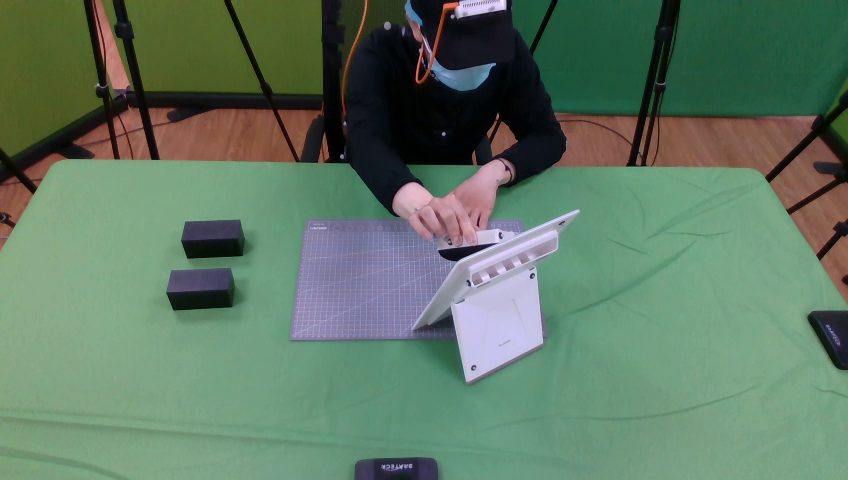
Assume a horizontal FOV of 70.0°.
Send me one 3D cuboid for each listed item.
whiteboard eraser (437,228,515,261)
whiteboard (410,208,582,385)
[{"bbox_3d":[0.078,0.007,0.904,0.112,0.056,0.041,-9,76,38],"label":"whiteboard eraser"},{"bbox_3d":[0.132,0.109,0.945,0.217,0.306,0.143,-21,72,-22],"label":"whiteboard"}]
